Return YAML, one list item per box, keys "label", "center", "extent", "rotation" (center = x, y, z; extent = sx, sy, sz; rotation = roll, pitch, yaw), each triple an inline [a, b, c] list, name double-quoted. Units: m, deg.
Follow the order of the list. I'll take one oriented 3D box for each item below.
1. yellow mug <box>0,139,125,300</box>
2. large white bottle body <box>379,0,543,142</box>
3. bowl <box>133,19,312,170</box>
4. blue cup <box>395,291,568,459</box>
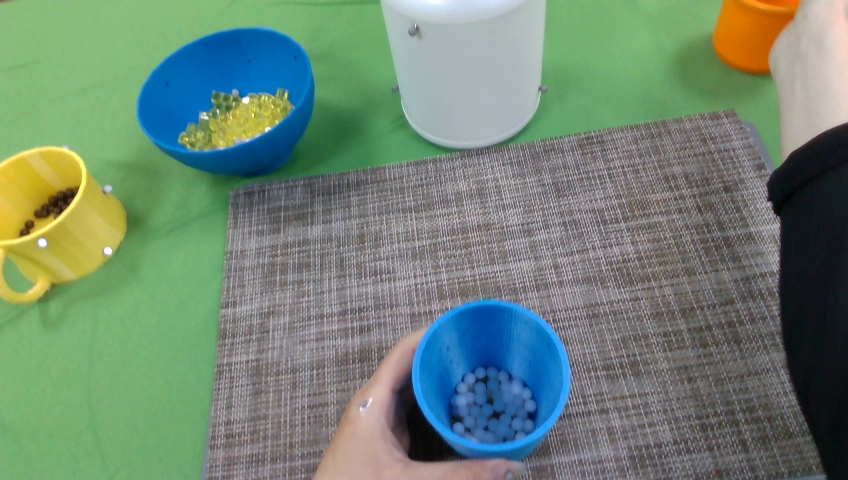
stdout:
- label: "yellow mug"
  center: [-0.319, -0.013, 0.502]
  extent: [0.100, 0.064, 0.130]
  rotation: [2, 60, 8]
- label: "large white bottle body"
  center: [0.031, -0.186, 0.493]
  extent: [0.130, 0.186, 0.129]
  rotation: [-3, 58, 5]
- label: "bowl"
  center: [-0.165, -0.115, 0.538]
  extent: [0.151, 0.077, 0.150]
  rotation: [-3, 58, 5]
- label: "blue cup"
  center: [0.039, 0.091, 0.367]
  extent: [0.092, 0.101, 0.092]
  rotation: [-3, 59, 5]
